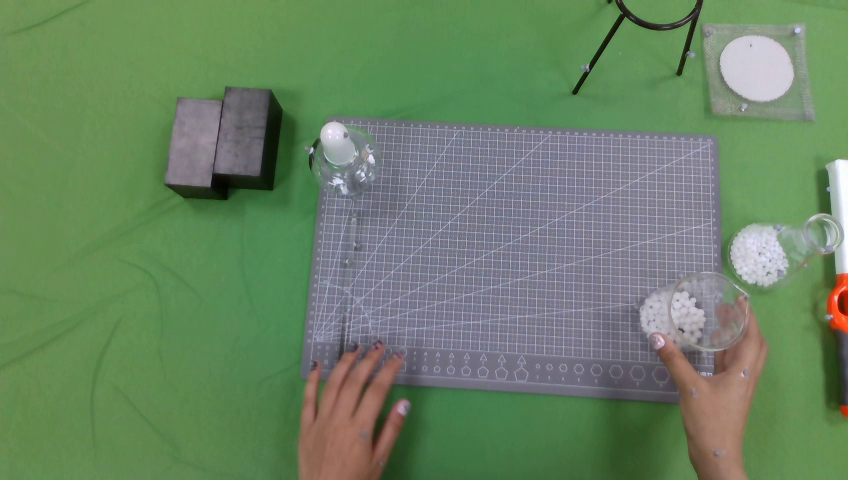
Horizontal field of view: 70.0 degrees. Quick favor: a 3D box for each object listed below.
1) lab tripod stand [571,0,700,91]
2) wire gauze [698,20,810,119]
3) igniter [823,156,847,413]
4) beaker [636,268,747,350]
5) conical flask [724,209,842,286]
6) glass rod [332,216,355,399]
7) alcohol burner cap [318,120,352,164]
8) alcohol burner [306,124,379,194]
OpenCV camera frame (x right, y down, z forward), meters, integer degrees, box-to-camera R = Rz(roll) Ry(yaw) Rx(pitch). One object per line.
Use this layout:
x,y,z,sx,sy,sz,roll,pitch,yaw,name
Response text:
0.227,-0.233,0.654,0.148,0.132,0.148,0,80,1,lab tripod stand
0.387,-0.202,0.710,0.125,0.011,0.121,2,79,-1,wire gauze
0.455,0.044,0.649,0.057,0.025,0.275,6,79,-9,igniter
0.263,0.072,0.607,0.084,0.100,0.073,-20,79,-3,beaker
0.365,0.002,0.611,0.075,0.122,0.075,0,78,2,conical flask
-0.087,0.071,0.658,0.008,0.008,0.199,4,82,2,glass rod
-0.090,-0.100,0.602,0.034,0.048,0.033,0,71,-1,alcohol burner cap
-0.089,-0.091,0.637,0.078,0.119,0.077,-1,79,3,alcohol burner
